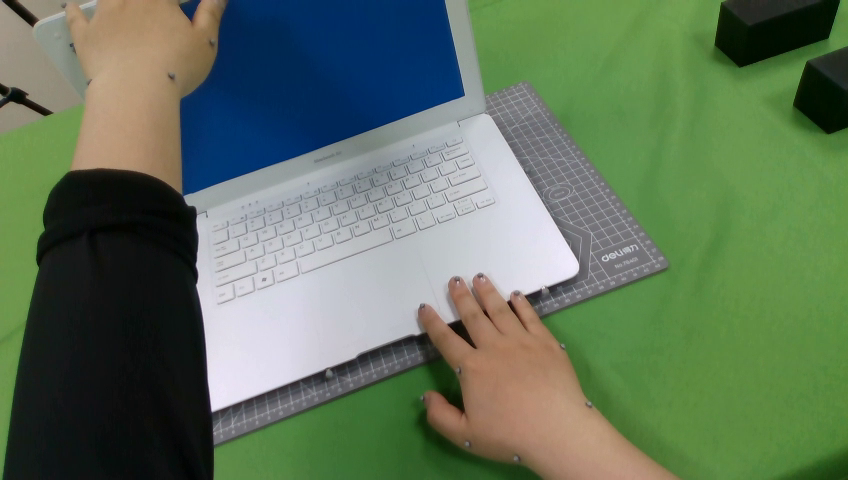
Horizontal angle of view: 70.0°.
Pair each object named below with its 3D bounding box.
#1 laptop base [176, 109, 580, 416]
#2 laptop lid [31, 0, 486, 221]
[{"bbox_3d":[-0.062,0.006,0.574,0.354,0.023,0.233,-21,52,-2],"label":"laptop base"},{"bbox_3d":[-0.123,-0.156,0.565,0.357,0.244,0.013,-22,46,-1],"label":"laptop lid"}]
